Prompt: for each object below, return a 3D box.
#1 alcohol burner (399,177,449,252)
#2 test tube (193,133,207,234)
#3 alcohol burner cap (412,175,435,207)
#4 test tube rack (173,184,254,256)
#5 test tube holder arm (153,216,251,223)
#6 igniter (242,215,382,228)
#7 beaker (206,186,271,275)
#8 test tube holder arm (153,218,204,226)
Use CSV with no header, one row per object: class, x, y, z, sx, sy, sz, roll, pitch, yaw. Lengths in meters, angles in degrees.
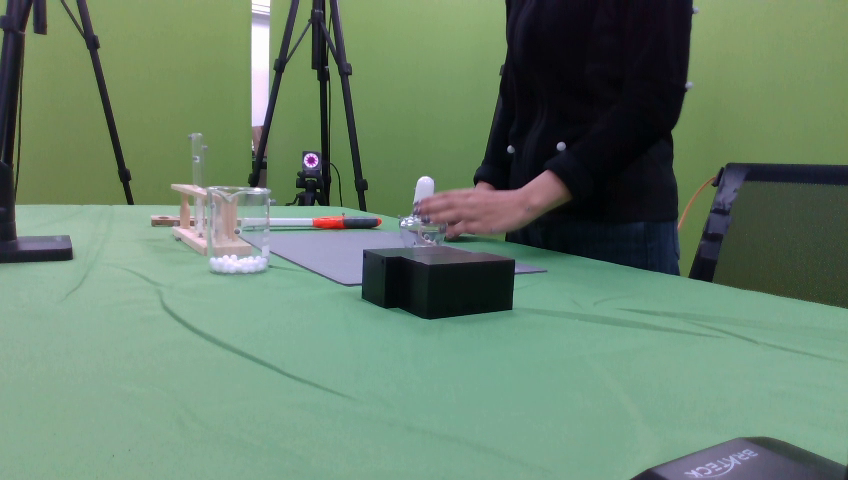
alcohol burner,0.000,-0.041,0.937,0.078,0.119,0.078,0,8,0
test tube,-0.335,-0.084,0.904,0.017,0.150,0.017,-1,2,0
alcohol burner cap,0.001,-0.077,0.933,0.034,0.048,0.034,8,9,-1
test tube rack,-0.328,-0.036,0.927,0.067,0.085,0.241,-2,9,-32
test tube holder arm,-0.422,-0.039,1.159,0.179,0.015,0.013,-2,43,-31
igniter,-0.213,-0.036,1.187,0.278,0.025,0.057,-2,-2,-31
beaker,-0.220,-0.012,0.717,0.074,0.100,0.084,2,8,-3
test tube holder arm,-0.459,-0.034,1.132,0.088,0.015,0.010,-1,43,-30
